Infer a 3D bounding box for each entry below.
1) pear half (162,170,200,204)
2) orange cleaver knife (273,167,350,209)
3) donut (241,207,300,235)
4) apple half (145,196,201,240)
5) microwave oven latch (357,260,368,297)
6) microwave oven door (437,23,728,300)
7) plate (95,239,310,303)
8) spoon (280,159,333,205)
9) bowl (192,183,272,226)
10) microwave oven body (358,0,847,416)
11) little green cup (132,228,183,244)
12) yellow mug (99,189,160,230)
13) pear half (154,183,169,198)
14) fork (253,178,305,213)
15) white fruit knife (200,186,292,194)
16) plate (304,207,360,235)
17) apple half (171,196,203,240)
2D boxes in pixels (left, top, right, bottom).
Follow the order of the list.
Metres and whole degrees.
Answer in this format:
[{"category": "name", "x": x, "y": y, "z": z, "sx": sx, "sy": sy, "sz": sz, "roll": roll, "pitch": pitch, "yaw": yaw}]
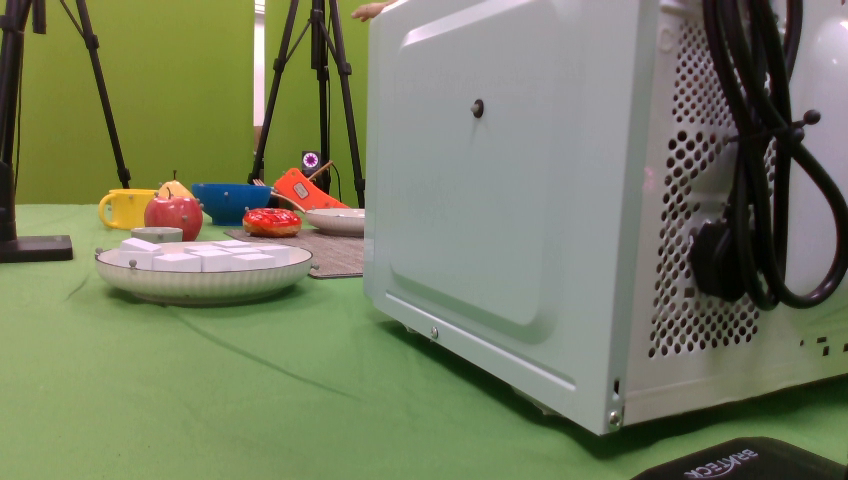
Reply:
[{"category": "pear half", "x": -0.399, "y": -0.061, "z": 1.002, "sx": 0.056, "sy": 0.110, "sz": 0.076, "roll": 2, "pitch": 11, "yaw": 1}, {"category": "orange cleaver knife", "x": -0.237, "y": -0.087, "z": 1.358, "sx": 0.211, "sy": 0.077, "sz": 0.012, "roll": 32, "pitch": 5, "yaw": -3}, {"category": "donut", "x": -0.263, "y": -0.032, "z": 1.039, "sx": 0.099, "sy": 0.048, "sz": 0.099, "roll": 4, "pitch": 9, "yaw": 0}, {"category": "apple half", "x": -0.377, "y": -0.027, "z": 0.892, "sx": 0.080, "sy": 0.074, "sz": 0.053, "roll": 8, "pitch": 12, "yaw": 18}, {"category": "microwave oven latch", "x": -0.019, "y": 0.033, "z": 0.531, "sx": 0.079, "sy": 0.029, "sz": 0.030, "roll": -1, "pitch": 7, "yaw": -27}, {"category": "microwave oven door", "x": 0.180, "y": -0.072, "z": 0.621, "sx": 0.358, "sy": 0.243, "sz": 0.039, "roll": -2, "pitch": 8, "yaw": -29}, {"category": "plate", "x": -0.224, "y": 0.031, "z": 0.629, "sx": 0.208, "sy": 0.039, "sz": 0.207, "roll": 2, "pitch": 8, "yaw": 0}, {"category": "spoon", "x": -0.316, "y": -0.159, "z": 1.638, "sx": 0.194, "sy": 0.022, "sz": 0.041, "roll": -49, "pitch": 32, "yaw": -20}, {"category": "bowl", "x": -0.381, "y": -0.070, "z": 1.202, "sx": 0.151, "sy": 0.077, "sz": 0.151, "roll": 3, "pitch": 7, "yaw": 0}, {"category": "microwave oven body", "x": 0.211, "y": -0.047, "z": 0.475, "sx": 0.444, "sy": 0.260, "sz": 0.324, "roll": -1, "pitch": 8, "yaw": -28}, {"category": "little green cup", "x": -0.342, "y": 0.006, "z": 0.779, "sx": 0.061, "sy": 0.038, "sz": 0.061, "roll": 2, "pitch": 8, "yaw": 0}, {"category": "yellow mug", "x": -0.518, "y": -0.055, "z": 1.080, "sx": 0.099, "sy": 0.064, "sz": 0.131, "roll": 7, "pitch": 10, "yaw": 26}, {"category": "pear half", "x": -0.435, "y": -0.053, "z": 1.006, "sx": 0.031, "sy": 0.088, "sz": 0.070, "roll": 3, "pitch": 12, "yaw": 0}, {"category": "fork", "x": -0.294, "y": -0.084, "z": 1.293, "sx": 0.206, "sy": 0.018, "sz": 0.028, "roll": 29, "pitch": 11, "yaw": 26}, {"category": "white fruit knife", "x": -0.399, "y": -0.111, "z": 1.368, "sx": 0.208, "sy": 0.016, "sz": 0.027, "roll": -4, "pitch": -19, "yaw": -29}, {"category": "plate", "x": -0.123, "y": -0.037, "z": 1.149, "sx": 0.209, "sy": 0.038, "sz": 0.209, "roll": 2, "pitch": 7, "yaw": 0}, {"category": "apple half", "x": -0.365, "y": -0.033, "z": 0.928, "sx": 0.081, "sy": 0.081, "sz": 0.033, "roll": 5, "pitch": 12, "yaw": 18}]
